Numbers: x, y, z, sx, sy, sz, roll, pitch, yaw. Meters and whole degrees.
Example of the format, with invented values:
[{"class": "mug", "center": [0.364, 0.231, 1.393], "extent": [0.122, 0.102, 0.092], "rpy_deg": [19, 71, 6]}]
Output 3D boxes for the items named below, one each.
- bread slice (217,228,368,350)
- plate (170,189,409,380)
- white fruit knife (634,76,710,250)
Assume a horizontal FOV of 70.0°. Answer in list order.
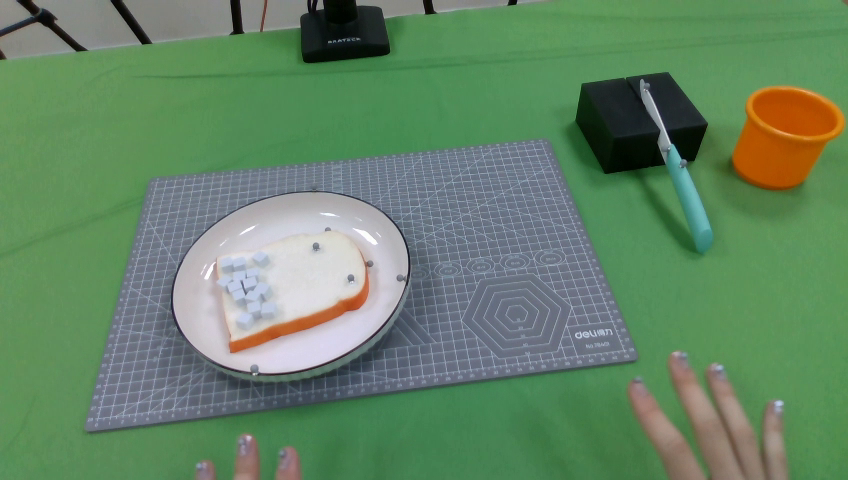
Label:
[{"class": "bread slice", "center": [-0.119, 0.035, 0.550], "extent": [0.132, 0.019, 0.103], "rpy_deg": [-18, 51, -12]}, {"class": "plate", "center": [-0.116, 0.037, 0.544], "extent": [0.209, 0.038, 0.207], "rpy_deg": [-1, 48, 1]}, {"class": "white fruit knife", "center": [0.247, -0.087, 0.616], "extent": [0.016, 0.027, 0.205], "rpy_deg": [-8, 63, -5]}]
